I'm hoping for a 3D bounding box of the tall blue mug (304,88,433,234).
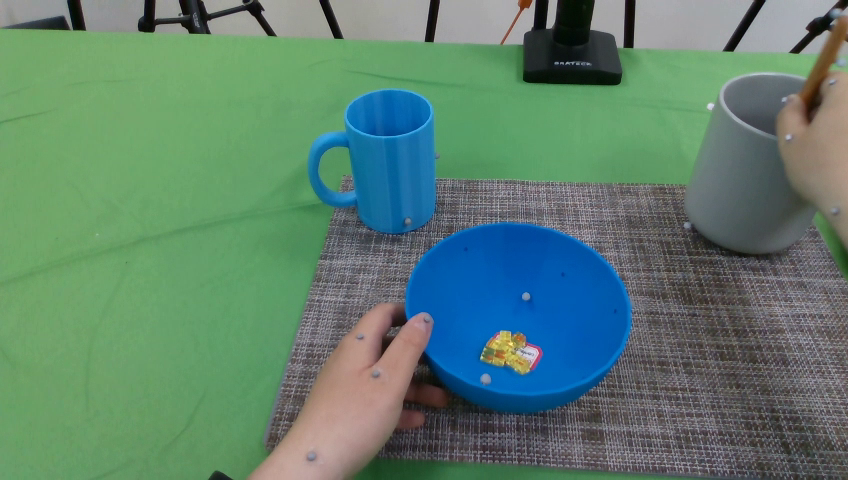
[{"bbox_3d":[-0.043,-0.063,0.541,0.107,0.109,0.077,-31,52,-26],"label":"tall blue mug"}]

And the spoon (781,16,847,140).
[{"bbox_3d":[0.286,-0.082,0.468,0.021,0.196,0.041,-2,51,10],"label":"spoon"}]

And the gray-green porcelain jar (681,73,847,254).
[{"bbox_3d":[0.284,-0.060,0.516,0.106,0.127,0.105,-1,45,1],"label":"gray-green porcelain jar"}]

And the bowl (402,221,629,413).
[{"bbox_3d":[0.061,0.065,0.430,0.151,0.077,0.150,-1,45,1],"label":"bowl"}]
